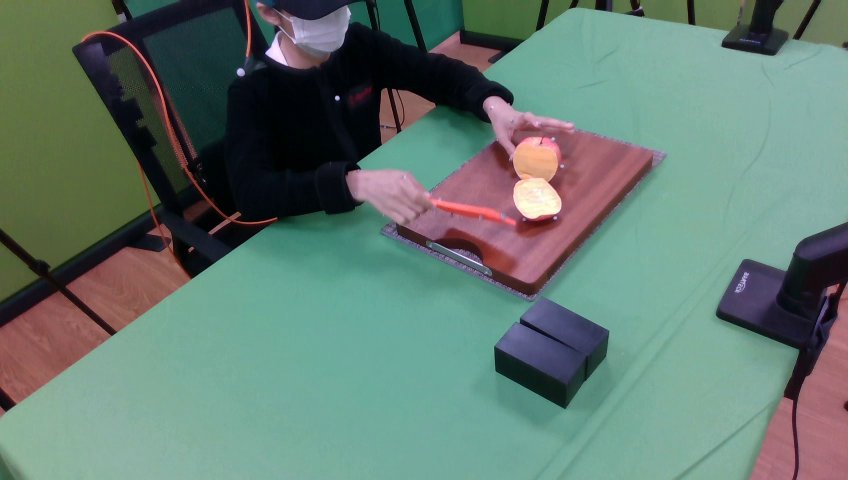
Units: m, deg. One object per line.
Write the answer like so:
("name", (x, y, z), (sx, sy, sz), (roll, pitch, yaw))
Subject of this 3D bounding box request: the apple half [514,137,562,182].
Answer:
("apple half", (0.197, -0.139, 1.026), (0.080, 0.075, 0.053), (13, 35, 24))

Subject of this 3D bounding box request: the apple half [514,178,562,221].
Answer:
("apple half", (0.177, -0.060, 0.960), (0.081, 0.033, 0.081), (4, 60, -6))

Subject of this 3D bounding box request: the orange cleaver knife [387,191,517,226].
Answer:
("orange cleaver knife", (0.039, -0.048, 0.924), (0.209, 0.078, 0.012), (14, 85, 33))
